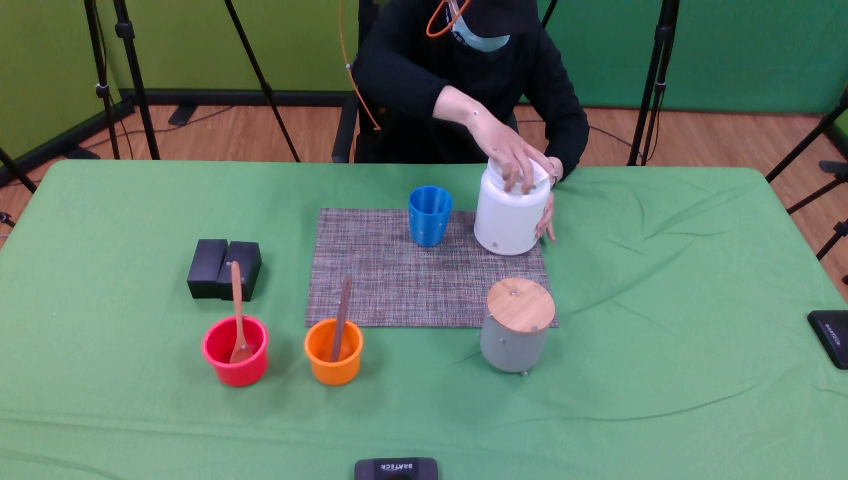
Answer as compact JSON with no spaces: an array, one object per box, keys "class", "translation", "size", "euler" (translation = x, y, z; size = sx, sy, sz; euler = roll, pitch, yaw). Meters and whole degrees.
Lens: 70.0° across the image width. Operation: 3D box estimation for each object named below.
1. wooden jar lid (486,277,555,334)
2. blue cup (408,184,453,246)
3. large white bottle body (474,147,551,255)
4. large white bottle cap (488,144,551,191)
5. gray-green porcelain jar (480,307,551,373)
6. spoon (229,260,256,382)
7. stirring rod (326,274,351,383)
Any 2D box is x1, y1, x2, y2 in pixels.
[{"class":"wooden jar lid","translation":[0.150,0.105,0.948],"size":[0.108,0.021,0.107],"euler":[3,47,-3]},{"class":"blue cup","translation":[0.008,-0.043,1.177],"size":[0.093,0.101,0.092],"euler":[3,48,-3]},{"class":"large white bottle body","translation":[0.170,-0.076,1.162],"size":[0.131,0.185,0.130],"euler":[2,46,-2]},{"class":"large white bottle cap","translation":[0.174,-0.134,1.101],"size":[0.115,0.018,0.114],"euler":[3,47,-3]},{"class":"gray-green porcelain jar","translation":[0.148,0.148,0.992],"size":[0.106,0.127,0.105],"euler":[2,46,-2]},{"class":"spoon","translation":[-0.294,0.129,0.966],"size":[0.042,0.021,0.193],"euler":[-4,91,-9]},{"class":"stirring rod","translation":[-0.137,0.142,0.971],"size":[0.014,0.006,0.176],"euler":[9,89,0]}]
